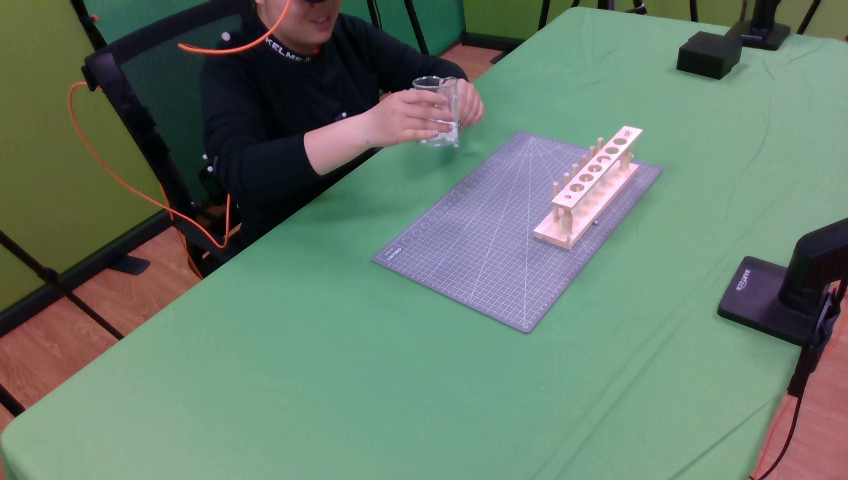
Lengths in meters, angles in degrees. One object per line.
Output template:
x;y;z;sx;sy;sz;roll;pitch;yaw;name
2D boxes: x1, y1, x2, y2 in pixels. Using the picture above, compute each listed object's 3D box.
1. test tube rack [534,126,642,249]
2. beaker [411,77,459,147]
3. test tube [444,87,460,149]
0.271;-0.095;0.990;0.066;0.085;0.243;23;49;33;test tube rack
0.021;-0.208;0.980;0.074;0.100;0.084;5;29;15;beaker
0.052;-0.220;1.107;0.017;0.151;0.017;-4;56;6;test tube
